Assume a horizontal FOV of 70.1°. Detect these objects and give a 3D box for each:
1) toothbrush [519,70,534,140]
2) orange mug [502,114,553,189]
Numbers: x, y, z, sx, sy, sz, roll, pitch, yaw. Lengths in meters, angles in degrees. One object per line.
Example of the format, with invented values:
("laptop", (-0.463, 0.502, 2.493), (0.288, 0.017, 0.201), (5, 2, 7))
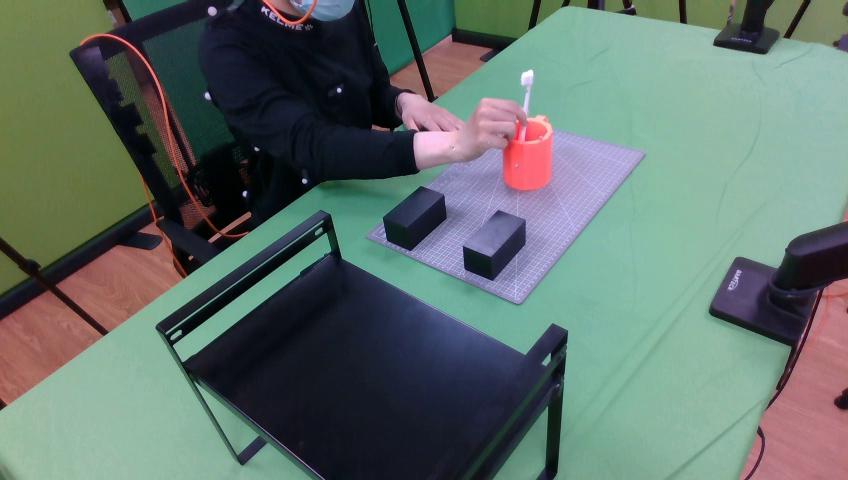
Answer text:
("toothbrush", (0.164, -0.198, 0.996), (0.017, 0.182, 0.014), (-23, 52, -17))
("orange mug", (0.190, -0.164, 1.071), (0.083, 0.101, 0.126), (16, 50, 25))
